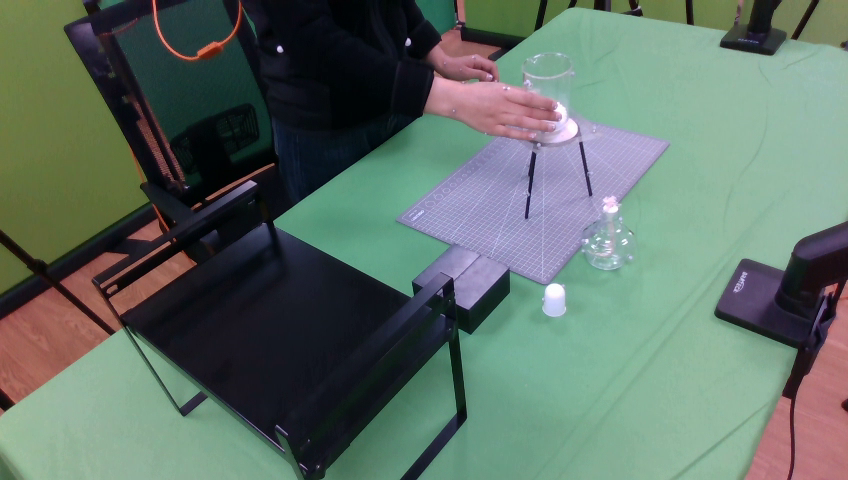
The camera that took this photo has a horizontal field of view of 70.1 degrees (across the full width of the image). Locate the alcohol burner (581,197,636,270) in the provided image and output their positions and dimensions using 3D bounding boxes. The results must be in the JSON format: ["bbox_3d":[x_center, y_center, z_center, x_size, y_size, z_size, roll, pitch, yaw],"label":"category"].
[{"bbox_3d":[0.270,-0.015,0.882,0.078,0.119,0.077,-5,42,5],"label":"alcohol burner"}]

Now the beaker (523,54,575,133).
[{"bbox_3d":[0.187,-0.223,0.922,0.074,0.101,0.083,-23,45,-14],"label":"beaker"}]

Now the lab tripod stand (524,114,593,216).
[{"bbox_3d":[0.210,-0.127,1.001,0.148,0.132,0.147,-4,43,4],"label":"lab tripod stand"}]

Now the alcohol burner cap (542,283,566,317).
[{"bbox_3d":[0.181,0.081,0.839,0.034,0.048,0.033,-3,40,3],"label":"alcohol burner cap"}]

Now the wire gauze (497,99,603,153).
[{"bbox_3d":[0.198,-0.181,0.962,0.125,0.011,0.120,-20,43,-13],"label":"wire gauze"}]
